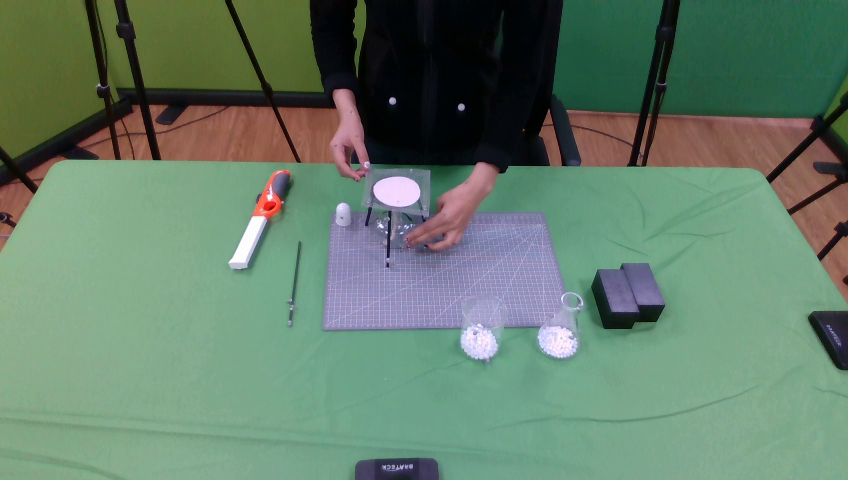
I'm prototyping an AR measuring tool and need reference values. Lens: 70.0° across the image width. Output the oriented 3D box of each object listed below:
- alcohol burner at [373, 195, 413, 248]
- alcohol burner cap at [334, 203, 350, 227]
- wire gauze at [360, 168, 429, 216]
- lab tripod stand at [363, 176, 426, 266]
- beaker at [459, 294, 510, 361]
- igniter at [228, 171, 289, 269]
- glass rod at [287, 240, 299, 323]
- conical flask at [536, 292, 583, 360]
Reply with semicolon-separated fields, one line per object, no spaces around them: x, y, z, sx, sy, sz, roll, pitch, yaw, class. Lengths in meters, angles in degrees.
-0.059;-0.041;1.167;0.078;0.119;0.077;4;46;-3;alcohol burner
-0.166;-0.054;1.221;0.034;0.048;0.033;3;46;-2;alcohol burner cap
-0.052;-0.093;1.110;0.125;0.011;0.120;5;44;-1;wire gauze
-0.058;-0.047;1.159;0.148;0.132;0.147;3;44;-3;lab tripod stand
0.095;0.147;1.012;0.083;0.101;0.074;26;49;21;beaker
-0.328;-0.049;1.218;0.057;0.025;0.275;0;45;11;igniter
-0.242;0.072;1.119;0.008;0.008;0.198;-1;47;-5;glass rod
0.234;0.139;1.015;0.075;0.122;0.075;2;46;-2;conical flask
